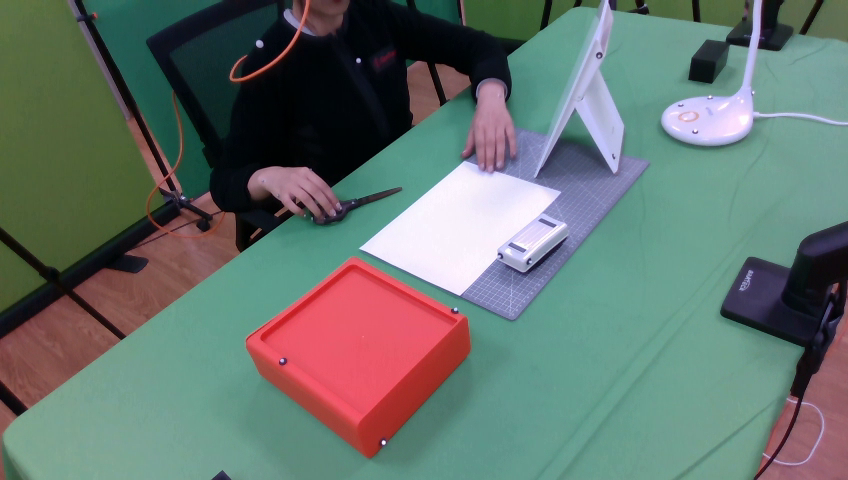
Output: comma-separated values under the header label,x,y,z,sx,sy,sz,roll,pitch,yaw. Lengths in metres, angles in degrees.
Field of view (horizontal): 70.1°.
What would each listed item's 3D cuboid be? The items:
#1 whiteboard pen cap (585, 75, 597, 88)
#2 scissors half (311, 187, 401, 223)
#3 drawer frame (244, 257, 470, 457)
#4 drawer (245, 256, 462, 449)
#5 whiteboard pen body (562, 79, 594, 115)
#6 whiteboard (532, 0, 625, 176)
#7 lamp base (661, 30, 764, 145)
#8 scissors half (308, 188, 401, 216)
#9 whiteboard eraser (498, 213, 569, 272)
label,x,y,z,sx,sy,sz,roll,pitch,yaw
whiteboard pen cap,0.362,-0.343,1.310,0.018,0.018,0.033,20,54,30
scissors half,-0.118,-0.066,1.087,0.176,0.013,0.040,-24,36,-22
drawer frame,-0.084,0.138,0.788,0.212,0.083,0.202,25,50,33
drawer,-0.089,0.136,0.792,0.210,0.073,0.195,26,51,34
whiteboard pen body,0.328,-0.306,1.277,0.017,0.017,0.141,20,52,30
whiteboard,0.320,-0.259,1.050,0.144,0.306,0.217,21,45,5
lamp base,0.535,-0.287,1.096,0.179,0.181,0.159,-10,40,-4
scissors half,-0.125,-0.074,1.104,0.176,0.013,0.040,-14,28,-8
whiteboard eraser,0.168,0.006,0.923,0.113,0.042,0.055,-36,48,-28
